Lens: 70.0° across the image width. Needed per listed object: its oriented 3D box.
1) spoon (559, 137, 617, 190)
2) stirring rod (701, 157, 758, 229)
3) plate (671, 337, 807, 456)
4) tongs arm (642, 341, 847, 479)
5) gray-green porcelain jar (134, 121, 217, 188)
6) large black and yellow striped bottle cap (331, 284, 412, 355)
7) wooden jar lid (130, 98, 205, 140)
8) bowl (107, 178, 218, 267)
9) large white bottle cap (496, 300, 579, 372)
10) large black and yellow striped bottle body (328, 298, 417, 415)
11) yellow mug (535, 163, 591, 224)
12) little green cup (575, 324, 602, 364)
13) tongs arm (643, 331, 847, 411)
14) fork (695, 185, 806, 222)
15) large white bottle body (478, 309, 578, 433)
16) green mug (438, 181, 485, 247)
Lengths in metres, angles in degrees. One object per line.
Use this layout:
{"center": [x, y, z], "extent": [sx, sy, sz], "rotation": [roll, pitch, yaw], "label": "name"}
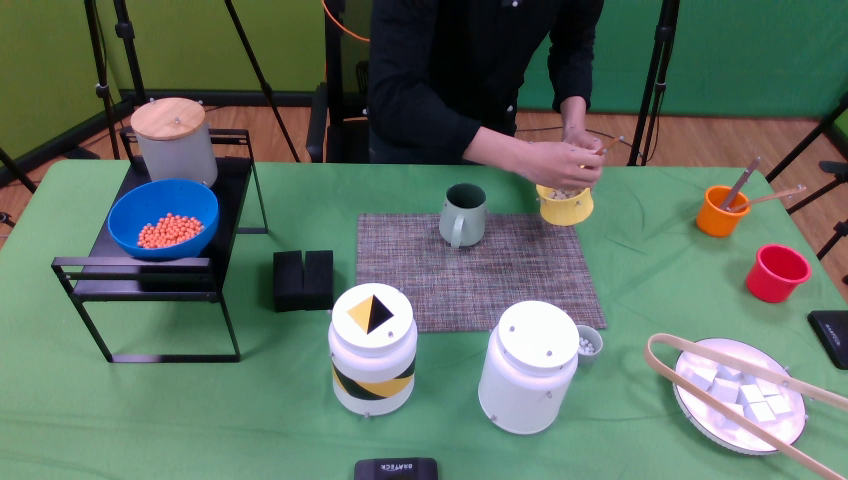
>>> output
{"center": [0.276, -0.127, 1.025], "extent": [0.042, 0.194, 0.021], "rotation": [-7, 69, -12], "label": "spoon"}
{"center": [0.634, -0.096, 1.257], "extent": [0.014, 0.006, 0.176], "rotation": [38, 97, 30], "label": "stirring rod"}
{"center": [0.504, 0.254, 0.984], "extent": [0.208, 0.039, 0.206], "rotation": [2, 46, -2], "label": "plate"}
{"center": [0.504, 0.278, 0.918], "extent": [0.386, 0.028, 0.028], "rotation": [34, 59, 22], "label": "tongs arm"}
{"center": [-0.397, -0.141, 0.979], "extent": [0.106, 0.127, 0.105], "rotation": [2, 47, -2], "label": "gray-green porcelain jar"}
{"center": [-0.073, 0.110, 0.857], "extent": [0.115, 0.019, 0.114], "rotation": [2, 46, -2], "label": "large black and yellow striped bottle cap"}
{"center": [-0.393, -0.183, 0.934], "extent": [0.108, 0.021, 0.107], "rotation": [2, 43, -2], "label": "wooden jar lid"}
{"center": [-0.374, -0.014, 0.893], "extent": [0.151, 0.077, 0.150], "rotation": [2, 46, -2], "label": "bowl"}
{"center": [0.160, 0.133, 0.852], "extent": [0.115, 0.018, 0.114], "rotation": [3, 46, -2], "label": "large white bottle cap"}
{"center": [-0.078, 0.167, 0.920], "extent": [0.131, 0.185, 0.130], "rotation": [2, 46, -2], "label": "large black and yellow striped bottle body"}
{"center": [0.272, -0.097, 1.140], "extent": [0.131, 0.064, 0.099], "rotation": [-42, 48, -22], "label": "yellow mug"}
{"center": [0.269, 0.179, 1.036], "extent": [0.061, 0.039, 0.061], "rotation": [2, 46, -2], "label": "little green cup"}
{"center": [0.546, 0.227, 0.968], "extent": [0.384, 0.026, 0.050], "rotation": [22, 52, 13], "label": "tongs arm"}
{"center": [0.658, -0.074, 1.230], "extent": [0.207, 0.019, 0.028], "rotation": [-23, 36, 37], "label": "fork"}
{"center": [0.156, 0.192, 0.913], "extent": [0.131, 0.185, 0.130], "rotation": [2, 46, -2], "label": "large white bottle body"}
{"center": [0.071, -0.039, 1.177], "extent": [0.092, 0.105, 0.124], "rotation": [12, 47, 7], "label": "green mug"}
